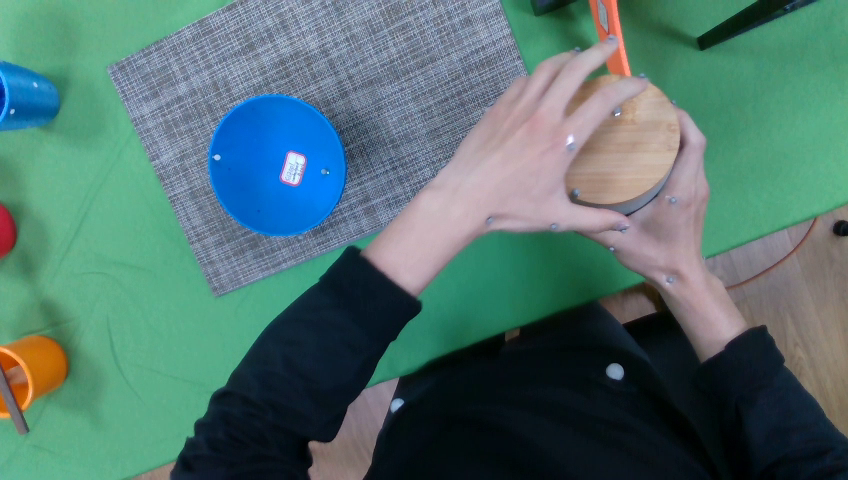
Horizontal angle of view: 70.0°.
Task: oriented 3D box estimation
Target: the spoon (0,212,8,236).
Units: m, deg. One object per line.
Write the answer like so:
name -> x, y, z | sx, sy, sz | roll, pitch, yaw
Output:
spoon -> -0.603, -0.001, 0.710 | 0.194, 0.021, 0.041 | -17, 97, -35

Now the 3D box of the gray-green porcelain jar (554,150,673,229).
gray-green porcelain jar -> 0.173, -0.069, 0.556 | 0.105, 0.127, 0.105 | -5, 78, 22

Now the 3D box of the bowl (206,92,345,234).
bowl -> -0.154, -0.086, 0.677 | 0.151, 0.076, 0.151 | 1, 99, 6

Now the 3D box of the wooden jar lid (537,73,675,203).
wooden jar lid -> 0.149, -0.082, 0.499 | 0.108, 0.021, 0.108 | -4, 81, 22

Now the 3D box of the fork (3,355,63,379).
fork -> -0.555, 0.171, 0.729 | 0.208, 0.018, 0.028 | -9, 110, -37

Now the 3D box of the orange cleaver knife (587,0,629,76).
orange cleaver knife -> 0.196, -0.190, 0.625 | 0.012, 0.076, 0.213 | -26, 125, 6

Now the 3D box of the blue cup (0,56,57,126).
blue cup -> -0.478, -0.169, 0.689 | 0.092, 0.100, 0.093 | 1, 100, 4

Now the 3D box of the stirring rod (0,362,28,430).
stirring rod -> -0.510, 0.145, 0.719 | 0.014, 0.006, 0.176 | -17, 98, 6
